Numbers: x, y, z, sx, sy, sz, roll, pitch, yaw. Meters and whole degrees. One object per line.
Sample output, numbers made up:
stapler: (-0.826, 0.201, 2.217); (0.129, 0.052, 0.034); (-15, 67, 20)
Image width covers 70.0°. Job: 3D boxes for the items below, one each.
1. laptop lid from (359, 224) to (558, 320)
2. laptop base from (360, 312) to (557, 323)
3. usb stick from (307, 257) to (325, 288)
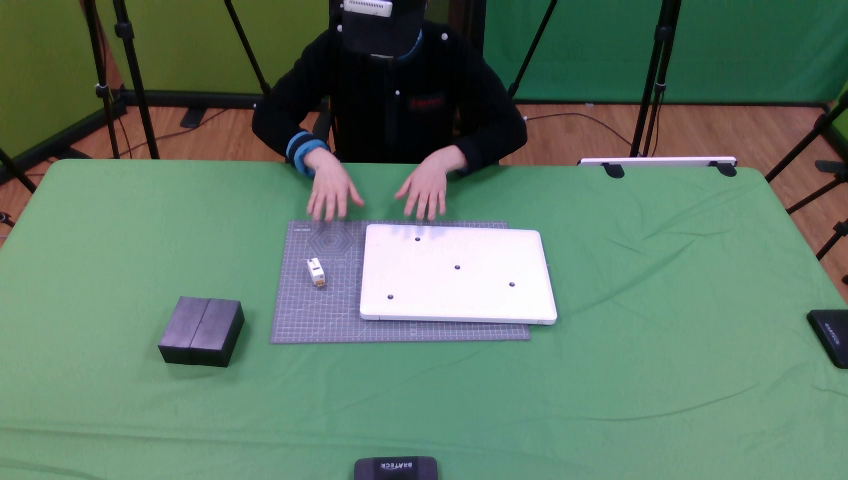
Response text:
laptop lid: (0.061, 0.053, 1.138); (0.357, 0.013, 0.240); (3, 44, -2)
laptop base: (0.061, 0.063, 1.145); (0.354, 0.023, 0.234); (2, 43, -3)
usb stick: (-0.198, 0.062, 1.116); (0.021, 0.027, 0.059); (-15, 52, -19)
